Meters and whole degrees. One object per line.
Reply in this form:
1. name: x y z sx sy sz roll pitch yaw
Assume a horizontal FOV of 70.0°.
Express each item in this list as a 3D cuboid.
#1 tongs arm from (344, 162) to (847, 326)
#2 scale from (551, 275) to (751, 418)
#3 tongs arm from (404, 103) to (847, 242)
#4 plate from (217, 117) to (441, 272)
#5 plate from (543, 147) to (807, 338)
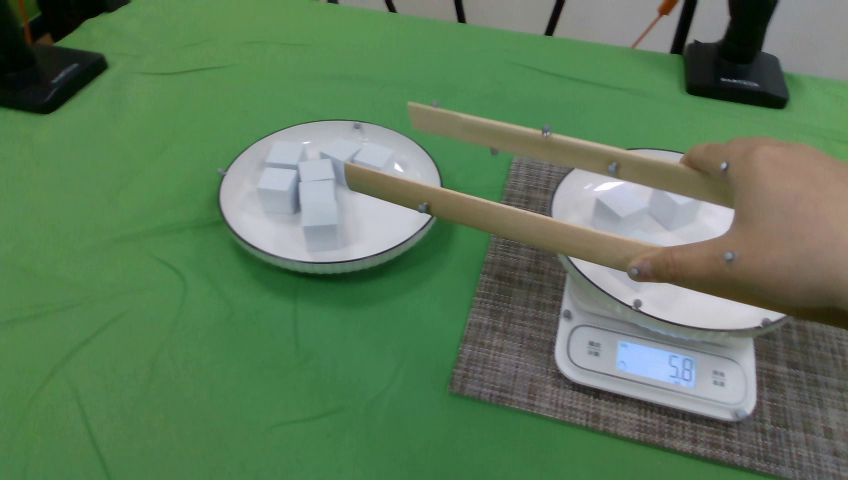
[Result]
1. tongs arm: 0.114 -0.001 0.356 0.385 0.028 0.028 15 45 24
2. scale: 0.193 0.043 0.510 0.148 0.032 0.199 13 47 10
3. tongs arm: 0.139 -0.031 0.382 0.382 0.027 0.050 18 50 26
4. plate: -0.087 -0.044 0.582 0.209 0.038 0.207 2 46 -1
5. plate: 0.201 0.000 0.506 0.208 0.039 0.205 2 47 -2
